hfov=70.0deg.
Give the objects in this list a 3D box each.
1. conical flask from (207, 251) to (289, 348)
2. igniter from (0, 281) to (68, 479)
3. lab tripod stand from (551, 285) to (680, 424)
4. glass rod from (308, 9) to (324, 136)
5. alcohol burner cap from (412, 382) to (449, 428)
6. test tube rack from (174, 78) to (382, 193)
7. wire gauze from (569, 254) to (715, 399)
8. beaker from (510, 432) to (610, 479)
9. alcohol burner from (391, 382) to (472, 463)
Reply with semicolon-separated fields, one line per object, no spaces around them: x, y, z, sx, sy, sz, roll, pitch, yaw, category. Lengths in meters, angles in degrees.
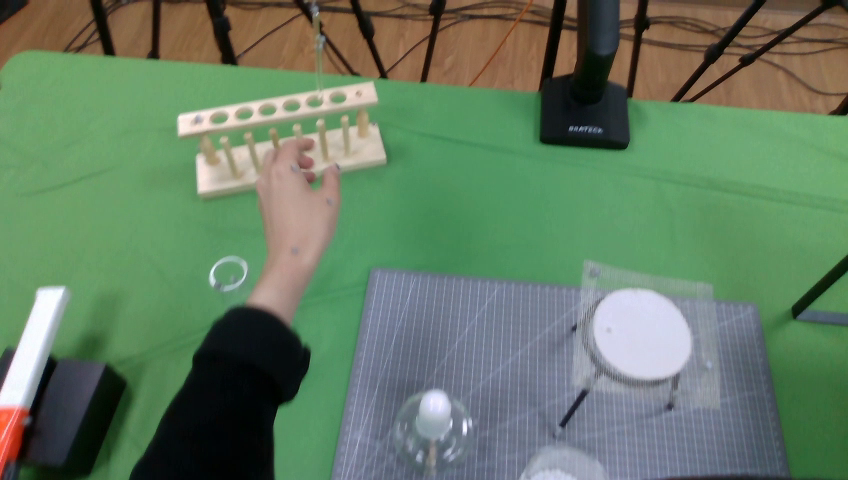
-0.190;0.058;0.635;0.075;0.123;0.074;0;58;0;conical flask
-0.395;0.163;0.571;0.057;0.025;0.274;-3;57;4;igniter
0.187;0.113;0.593;0.148;0.132;0.147;1;57;-1;lab tripod stand
-0.129;-0.194;0.735;0.008;0.201;0.008;3;57;-4;glass rod
0.007;0.145;0.541;0.034;0.048;0.033;2;52;-3;alcohol burner cap
-0.180;-0.133;0.776;0.243;0.086;0.066;-12;59;-8;test tube rack
0.194;0.074;0.537;0.121;0.011;0.124;11;59;5;wire gauze
0.114;0.224;0.544;0.084;0.101;0.073;-5;58;-3;beaker
0.008;0.166;0.571;0.078;0.120;0.077;2;57;-2;alcohol burner
